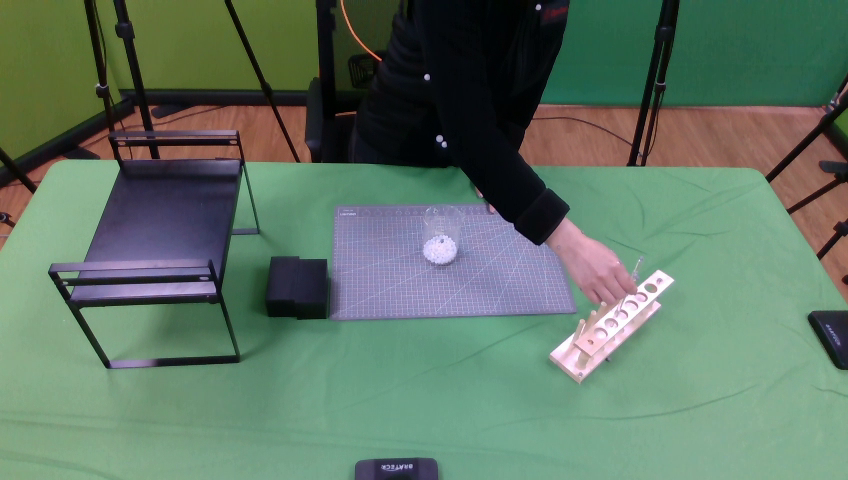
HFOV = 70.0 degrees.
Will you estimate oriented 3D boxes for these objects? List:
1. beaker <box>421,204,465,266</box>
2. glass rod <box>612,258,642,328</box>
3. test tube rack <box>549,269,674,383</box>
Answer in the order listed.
[{"bbox_3d":[0.034,-0.008,1.151,0.084,0.101,0.073,-10,48,-13],"label":"beaker"},{"bbox_3d":[0.321,0.089,0.965,0.008,0.201,0.008,-2,52,2],"label":"glass rod"},{"bbox_3d":[0.326,0.135,1.047,0.242,0.085,0.066,-32,55,-30],"label":"test tube rack"}]
